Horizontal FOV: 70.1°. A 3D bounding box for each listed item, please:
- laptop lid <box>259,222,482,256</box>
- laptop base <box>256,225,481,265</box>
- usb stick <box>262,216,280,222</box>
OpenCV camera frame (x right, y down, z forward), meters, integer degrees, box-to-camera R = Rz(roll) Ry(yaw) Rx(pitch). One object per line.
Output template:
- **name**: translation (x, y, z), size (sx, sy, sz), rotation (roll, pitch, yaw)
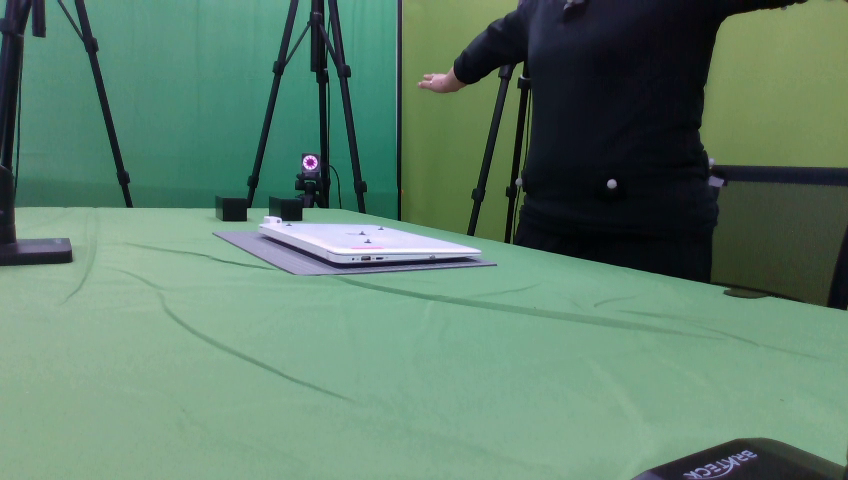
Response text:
- **laptop lid**: translation (-0.100, -0.005, 0.961), size (0.243, 0.013, 0.355), rotation (1, 7, -30)
- **laptop base**: translation (-0.103, 0.007, 0.961), size (0.237, 0.023, 0.352), rotation (2, 6, -32)
- **usb stick**: translation (-0.271, -0.028, 1.079), size (0.021, 0.027, 0.059), rotation (-1, 10, -29)
